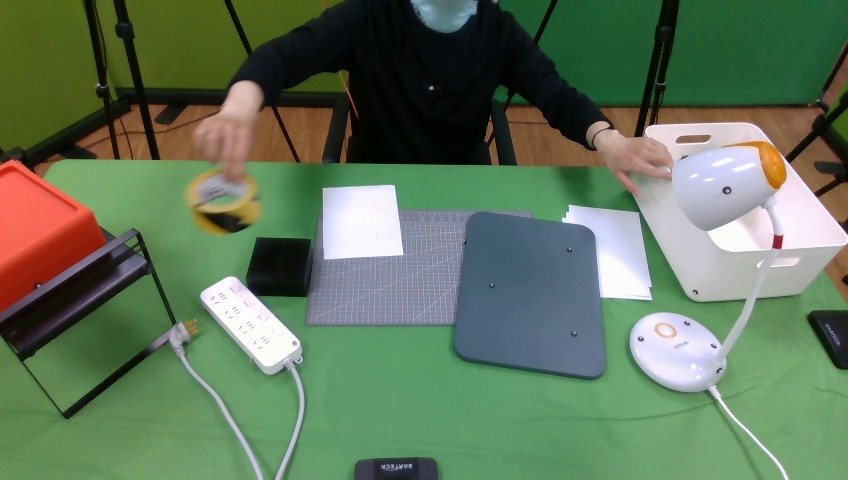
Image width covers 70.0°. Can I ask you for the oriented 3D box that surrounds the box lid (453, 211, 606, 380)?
[{"bbox_3d":[0.200,0.085,1.138,0.263,0.015,0.369,8,47,3],"label":"box lid"}]

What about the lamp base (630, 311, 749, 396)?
[{"bbox_3d":[0.447,0.143,0.983,0.161,0.181,0.178,-24,55,-24],"label":"lamp base"}]

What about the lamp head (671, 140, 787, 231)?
[{"bbox_3d":[0.415,-0.078,0.811,0.113,0.123,0.112,12,70,-37],"label":"lamp head"}]

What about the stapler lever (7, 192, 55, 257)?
[{"bbox_3d":[-0.575,-0.026,0.885,0.027,0.040,0.117,-31,56,-25],"label":"stapler lever"}]

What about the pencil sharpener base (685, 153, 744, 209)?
[{"bbox_3d":[0.620,-0.125,1.293,0.077,0.107,0.061,-8,47,-12],"label":"pencil sharpener base"}]

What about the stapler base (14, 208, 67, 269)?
[{"bbox_3d":[-0.577,-0.010,0.903,0.041,0.024,0.130,-31,57,-25],"label":"stapler base"}]

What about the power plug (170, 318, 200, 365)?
[{"bbox_3d":[-0.392,0.167,1.014,0.052,0.035,0.072,-30,91,-23],"label":"power plug"}]

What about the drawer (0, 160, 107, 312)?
[{"bbox_3d":[-0.610,-0.001,0.866,0.194,0.073,0.211,29,52,21],"label":"drawer"}]

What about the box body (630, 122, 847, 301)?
[{"bbox_3d":[0.594,-0.062,1.202,0.254,0.161,0.361,-4,47,-7],"label":"box body"}]

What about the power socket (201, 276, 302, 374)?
[{"bbox_3d":[-0.297,0.141,1.034,0.072,0.033,0.225,-34,58,-30],"label":"power socket"}]

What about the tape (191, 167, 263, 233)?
[{"bbox_3d":[-0.329,-0.068,1.013,0.117,0.053,0.116,3,45,-3],"label":"tape"}]

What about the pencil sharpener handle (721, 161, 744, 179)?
[{"bbox_3d":[0.668,-0.148,1.299,0.031,0.068,0.036,-8,78,-12],"label":"pencil sharpener handle"}]

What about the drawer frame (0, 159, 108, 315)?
[{"bbox_3d":[-0.611,0.000,0.863,0.201,0.083,0.213,27,51,20],"label":"drawer frame"}]

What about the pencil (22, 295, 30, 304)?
[{"bbox_3d":[-0.591,0.010,0.883,0.012,0.012,0.193,-17,61,-20],"label":"pencil"}]
